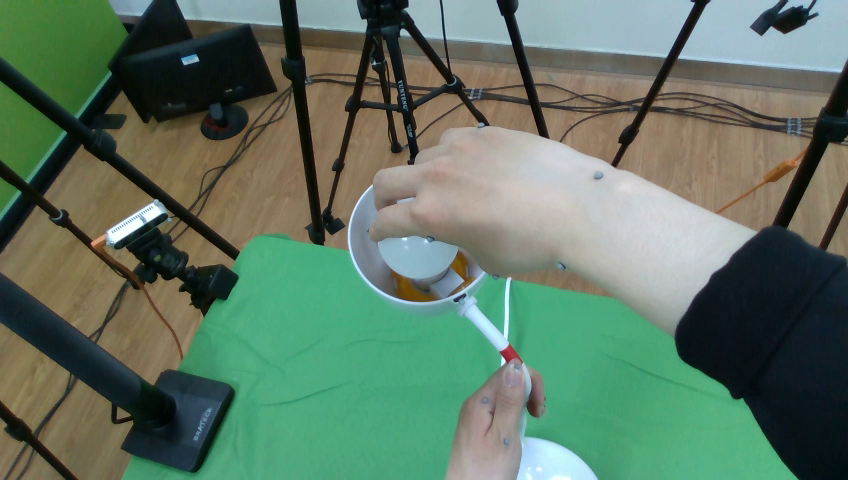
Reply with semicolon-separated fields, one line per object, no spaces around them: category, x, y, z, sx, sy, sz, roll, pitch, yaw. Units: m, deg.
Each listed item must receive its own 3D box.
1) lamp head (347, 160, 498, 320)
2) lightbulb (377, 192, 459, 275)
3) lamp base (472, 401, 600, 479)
lamp head;0.005;0.013;0.490;0.112;0.124;0.111;-3;65;6
lightbulb;-0.003;0.003;0.460;0.059;0.108;0.059;-1;73;3
lamp base;0.117;0.256;0.649;0.161;0.182;0.177;-24;54;-8
